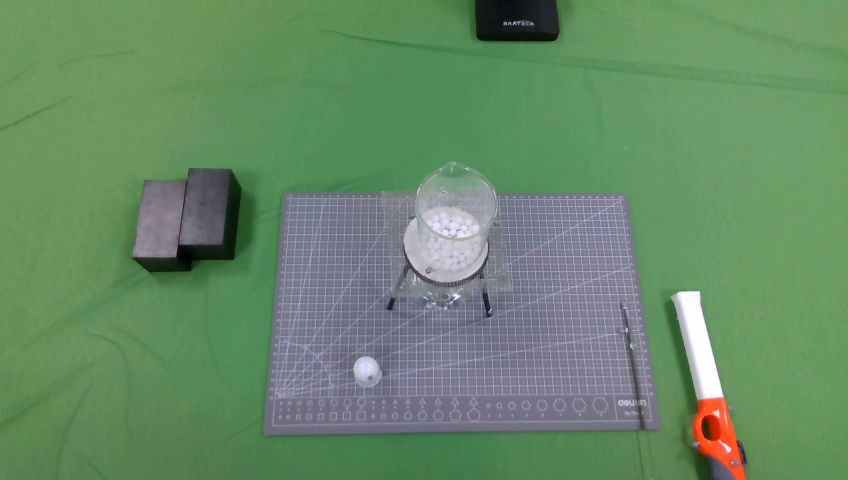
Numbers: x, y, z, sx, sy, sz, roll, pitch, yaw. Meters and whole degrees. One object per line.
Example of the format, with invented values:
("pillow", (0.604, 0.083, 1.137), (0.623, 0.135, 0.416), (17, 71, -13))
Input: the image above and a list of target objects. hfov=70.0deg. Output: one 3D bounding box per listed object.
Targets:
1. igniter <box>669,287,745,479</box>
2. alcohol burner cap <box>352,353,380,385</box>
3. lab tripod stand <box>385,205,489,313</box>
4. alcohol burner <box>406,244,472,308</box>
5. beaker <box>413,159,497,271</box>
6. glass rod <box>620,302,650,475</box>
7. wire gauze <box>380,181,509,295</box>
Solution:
("igniter", (0.328, 0.189, 0.697), (0.057, 0.025, 0.274), (0, 69, -13))
("alcohol burner cap", (-0.067, 0.144, 0.686), (0.034, 0.048, 0.033), (1, 69, -2))
("lab tripod stand", (0.018, 0.023, 0.686), (0.148, 0.132, 0.147), (0, 68, 0))
("alcohol burner", (0.018, 0.036, 0.692), (0.078, 0.120, 0.077), (0, 67, -1))
("beaker", (0.025, -0.019, 0.580), (0.074, 0.101, 0.083), (-3, 67, -3))
("glass rod", (0.245, 0.169, 0.708), (0.008, 0.008, 0.198), (-1, 69, -3))
("wire gauze", (0.020, -0.003, 0.625), (0.125, 0.011, 0.120), (-4, 67, -2))
